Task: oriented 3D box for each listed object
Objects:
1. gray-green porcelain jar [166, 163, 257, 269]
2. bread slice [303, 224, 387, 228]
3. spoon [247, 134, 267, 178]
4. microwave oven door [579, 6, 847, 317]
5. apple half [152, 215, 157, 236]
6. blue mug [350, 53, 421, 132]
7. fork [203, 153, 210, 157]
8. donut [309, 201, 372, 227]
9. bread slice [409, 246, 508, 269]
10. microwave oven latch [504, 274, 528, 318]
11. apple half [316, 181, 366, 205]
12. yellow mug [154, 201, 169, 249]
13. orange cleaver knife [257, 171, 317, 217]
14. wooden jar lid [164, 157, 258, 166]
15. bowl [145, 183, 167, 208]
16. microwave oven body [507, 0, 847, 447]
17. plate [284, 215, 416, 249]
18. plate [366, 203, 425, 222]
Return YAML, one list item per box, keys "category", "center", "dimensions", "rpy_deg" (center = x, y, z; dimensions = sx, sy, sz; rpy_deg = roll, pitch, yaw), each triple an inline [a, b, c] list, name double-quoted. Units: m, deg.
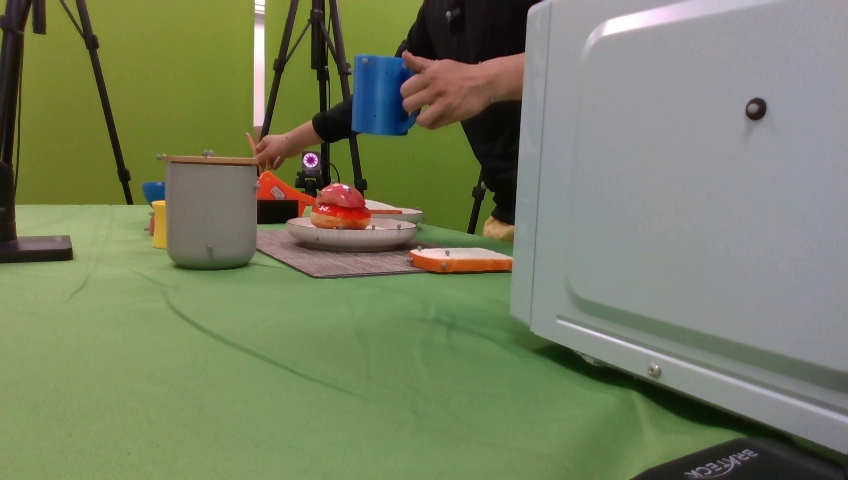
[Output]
- category: "gray-green porcelain jar"
  center: [-0.263, -0.032, 0.754]
  dimensions: [0.106, 0.126, 0.106]
  rpy_deg: [2, 7, 0]
- category: "bread slice"
  center: [-0.120, -0.015, 0.970]
  dimensions: [0.106, 0.018, 0.135]
  rpy_deg: [9, 8, 41]
- category: "spoon"
  center: [-0.410, -0.183, 1.523]
  dimensions: [0.021, 0.193, 0.042]
  rpy_deg: [-25, -11, 39]
- category: "microwave oven door"
  center: [0.294, -0.067, 0.570]
  dimensions: [0.358, 0.243, 0.039]
  rpy_deg: [-3, 9, -31]
- category: "apple half"
  center: [-0.415, -0.034, 1.017]
  dimensions: [0.081, 0.053, 0.074]
  rpy_deg: [1, 10, -9]
- category: "blue mug"
  center: [-0.050, -0.207, 0.855]
  dimensions: [0.116, 0.106, 0.083]
  rpy_deg: [14, 17, 37]
- category: "fork"
  center: [-0.480, -0.136, 1.411]
  dimensions: [0.028, 0.018, 0.207]
  rpy_deg: [0, -34, -1]
- category: "donut"
  center: [-0.132, -0.042, 0.959]
  dimensions: [0.099, 0.048, 0.099]
  rpy_deg: [2, 7, 0]
- category: "bread slice"
  center: [0.048, 0.022, 0.816]
  dimensions: [0.132, 0.019, 0.104]
  rpy_deg: [0, 7, -24]
- category: "microwave oven latch"
  center: [0.100, 0.041, 0.470]
  dimensions: [0.079, 0.029, 0.030]
  rpy_deg: [-1, 7, -27]
- category: "apple half"
  center: [-0.128, -0.076, 0.954]
  dimensions: [0.081, 0.033, 0.081]
  rpy_deg: [7, 12, -1]
- category: "yellow mug"
  center: [-0.337, -0.023, 0.899]
  dimensions: [0.130, 0.064, 0.100]
  rpy_deg: [8, 9, 34]
- category: "orange cleaver knife"
  center: [-0.283, -0.087, 1.343]
  dimensions: [0.212, 0.077, 0.012]
  rpy_deg: [24, -16, -41]
- category: "wooden jar lid"
  center: [-0.261, -0.093, 0.746]
  dimensions: [0.108, 0.020, 0.108]
  rpy_deg: [1, 9, 0]
- category: "bowl"
  center: [-0.459, -0.069, 1.175]
  dimensions: [0.151, 0.077, 0.151]
  rpy_deg: [2, 7, 0]
- category: "microwave oven body"
  center: [0.331, -0.042, 0.425]
  dimensions: [0.444, 0.260, 0.324]
  rpy_deg: [-2, 8, -31]
- category: "plate"
  center: [-0.116, -0.014, 0.967]
  dimensions: [0.208, 0.039, 0.207]
  rpy_deg: [2, 7, 0]
- category: "plate"
  center: [-0.102, -0.053, 1.299]
  dimensions: [0.209, 0.038, 0.209]
  rpy_deg: [2, 8, 0]
